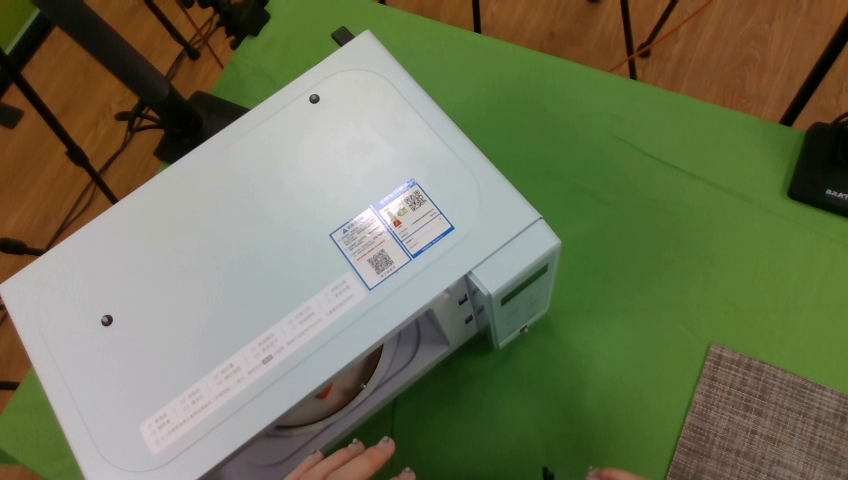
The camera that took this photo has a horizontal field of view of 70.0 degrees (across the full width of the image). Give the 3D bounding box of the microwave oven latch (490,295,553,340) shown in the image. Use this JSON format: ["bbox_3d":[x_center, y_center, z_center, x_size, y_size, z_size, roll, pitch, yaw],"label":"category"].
[{"bbox_3d":[0.114,0.083,0.713,0.079,0.030,0.030,-35,69,-4],"label":"microwave oven latch"}]

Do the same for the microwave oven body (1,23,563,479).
[{"bbox_3d":[-0.128,0.048,0.657,0.441,0.262,0.323,-37,70,-5],"label":"microwave oven body"}]
